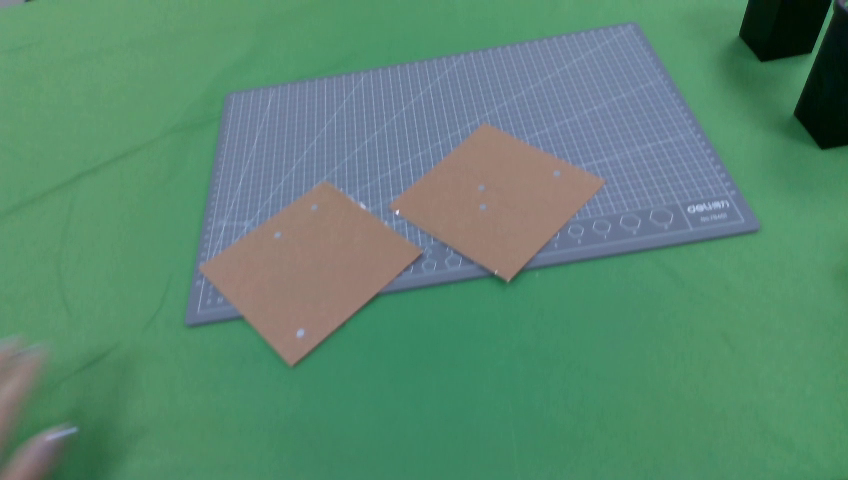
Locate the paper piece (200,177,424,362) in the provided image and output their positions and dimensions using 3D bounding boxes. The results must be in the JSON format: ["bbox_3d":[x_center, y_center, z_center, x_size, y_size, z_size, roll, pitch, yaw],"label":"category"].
[{"bbox_3d":[-0.094,0.015,0.496,0.138,0.009,0.134,-40,52,-20],"label":"paper piece"}]

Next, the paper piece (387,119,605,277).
[{"bbox_3d":[0.060,-0.043,0.516,0.134,0.004,0.135,33,62,31],"label":"paper piece"}]

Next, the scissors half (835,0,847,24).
[{"bbox_3d":[0.328,-0.209,0.479,0.040,0.013,0.173,-4,49,8],"label":"scissors half"}]
